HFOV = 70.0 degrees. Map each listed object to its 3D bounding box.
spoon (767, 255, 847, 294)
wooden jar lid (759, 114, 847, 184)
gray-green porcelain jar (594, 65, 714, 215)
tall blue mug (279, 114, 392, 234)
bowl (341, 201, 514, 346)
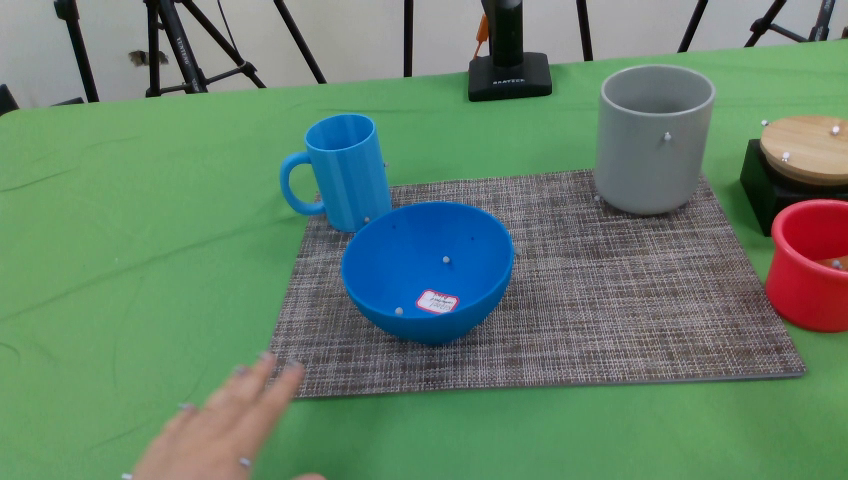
[{"bbox_3d":[0.365,0.006,0.467,0.022,0.194,0.041,47,50,-7],"label":"spoon"},{"bbox_3d":[0.386,-0.089,0.591,0.108,0.021,0.107,-6,40,6],"label":"wooden jar lid"},{"bbox_3d":[0.230,-0.098,0.622,0.106,0.128,0.105,-6,41,5],"label":"gray-green porcelain jar"},{"bbox_3d":[-0.094,-0.064,0.660,0.107,0.109,0.077,-35,47,-26],"label":"tall blue mug"},{"bbox_3d":[0.007,0.041,0.541,0.151,0.077,0.150,-5,40,5],"label":"bowl"}]
